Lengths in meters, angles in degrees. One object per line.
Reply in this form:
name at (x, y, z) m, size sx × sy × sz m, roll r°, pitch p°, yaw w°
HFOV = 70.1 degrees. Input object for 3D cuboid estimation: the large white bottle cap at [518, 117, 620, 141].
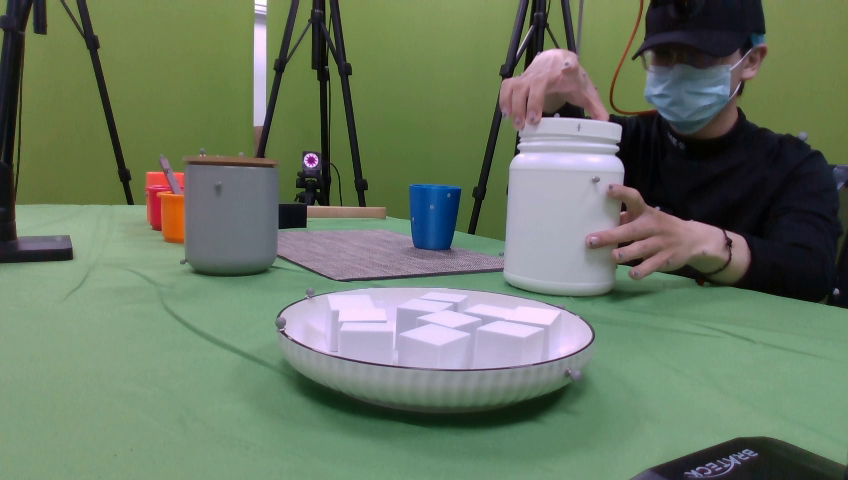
large white bottle cap at (0.166, -0.126, 0.695) m, size 0.115 × 0.018 × 0.115 m, roll 5°, pitch 6°, yaw 0°

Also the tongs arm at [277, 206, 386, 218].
tongs arm at (-0.251, -0.063, 1.360) m, size 0.387 × 0.026 × 0.050 m, roll -1°, pitch 3°, yaw -31°

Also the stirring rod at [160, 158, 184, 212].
stirring rod at (-0.390, -0.070, 0.972) m, size 0.014 × 0.006 × 0.175 m, roll -1°, pitch 49°, yaw -49°

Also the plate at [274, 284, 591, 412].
plate at (0.005, 0.069, 0.408) m, size 0.208 × 0.039 × 0.207 m, roll 2°, pitch 7°, yaw 0°

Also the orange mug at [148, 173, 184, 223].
orange mug at (-0.490, -0.087, 1.222) m, size 0.127 × 0.101 × 0.083 m, roll -9°, pitch 13°, yaw -38°

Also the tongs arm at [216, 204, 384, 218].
tongs arm at (-0.288, -0.069, 1.435) m, size 0.389 × 0.027 × 0.028 m, roll 0°, pitch -1°, yaw -17°

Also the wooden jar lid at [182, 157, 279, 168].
wooden jar lid at (-0.227, -0.086, 0.714) m, size 0.108 × 0.020 × 0.108 m, roll 1°, pitch 6°, yaw 0°

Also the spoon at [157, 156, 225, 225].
spoon at (-0.425, -0.094, 1.117) m, size 0.041 × 0.022 × 0.194 m, roll 5°, pitch 51°, yaw 29°

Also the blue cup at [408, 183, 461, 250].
blue cup at (0.015, -0.038, 0.970) m, size 0.093 × 0.100 × 0.092 m, roll 2°, pitch 9°, yaw 0°

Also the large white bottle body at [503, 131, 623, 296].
large white bottle body at (0.162, -0.037, 0.707) m, size 0.131 × 0.184 × 0.130 m, roll 2°, pitch 7°, yaw 0°

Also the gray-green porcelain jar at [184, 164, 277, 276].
gray-green porcelain jar at (-0.230, -0.025, 0.722) m, size 0.106 × 0.126 × 0.106 m, roll 3°, pitch 7°, yaw 0°
